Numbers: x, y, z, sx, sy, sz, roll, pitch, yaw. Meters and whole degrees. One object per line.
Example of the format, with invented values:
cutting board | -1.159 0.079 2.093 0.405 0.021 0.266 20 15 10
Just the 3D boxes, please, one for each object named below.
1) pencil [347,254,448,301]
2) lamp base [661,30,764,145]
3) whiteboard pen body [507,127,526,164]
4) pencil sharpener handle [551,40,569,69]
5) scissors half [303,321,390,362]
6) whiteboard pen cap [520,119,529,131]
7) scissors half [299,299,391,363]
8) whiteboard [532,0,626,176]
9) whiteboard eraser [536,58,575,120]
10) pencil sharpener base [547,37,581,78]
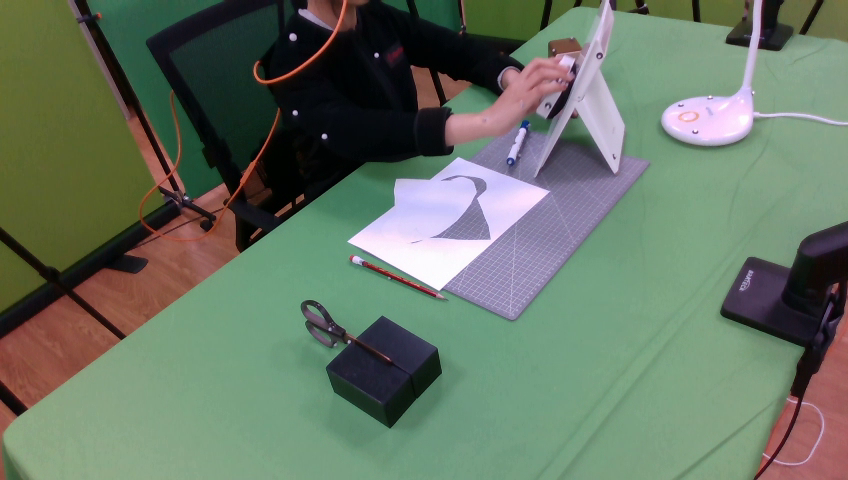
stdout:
pencil | -0.044 0.058 0.933 0.192 0.012 0.012 22 49 28
lamp base | 0.535 -0.287 1.096 0.179 0.181 0.159 -10 40 -4
whiteboard pen body | 0.181 -0.189 1.163 0.017 0.017 0.140 7 42 18
pencil sharpener handle | 0.292 -0.409 1.321 0.036 0.068 0.030 2 40 -6
scissors half | -0.105 0.138 0.803 0.174 0.040 0.013 8 27 43
whiteboard pen cap | 0.199 -0.226 1.204 0.018 0.018 0.033 6 43 17
scissors half | -0.107 0.120 0.794 0.174 0.040 0.013 26 44 32
whiteboard | 0.321 -0.258 1.050 0.144 0.306 0.217 21 45 5
whiteboard eraser | 0.220 -0.248 0.995 0.042 0.055 0.112 25 49 1
pencil sharpener base | 0.300 -0.368 1.290 0.061 0.107 0.076 -8 40 2
